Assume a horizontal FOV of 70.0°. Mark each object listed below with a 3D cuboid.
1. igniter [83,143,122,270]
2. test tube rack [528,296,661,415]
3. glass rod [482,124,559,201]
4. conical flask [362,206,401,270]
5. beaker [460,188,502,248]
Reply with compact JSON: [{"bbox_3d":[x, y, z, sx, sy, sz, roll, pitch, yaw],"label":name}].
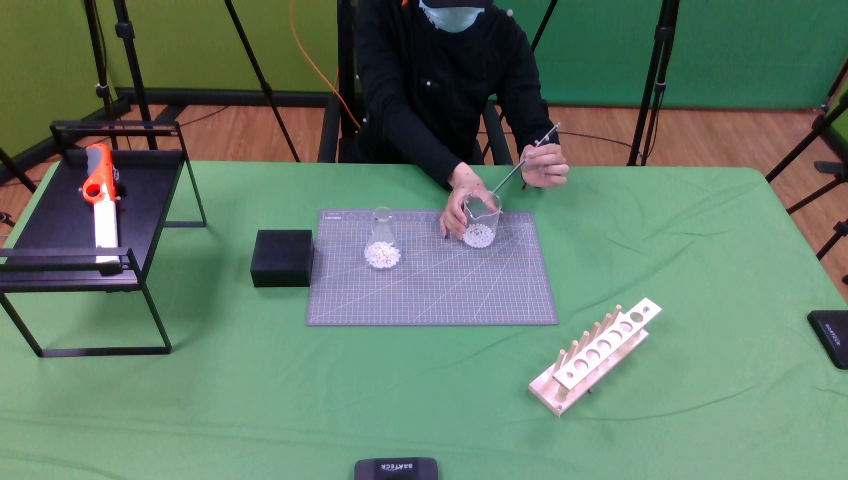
[{"bbox_3d":[-0.508,-0.063,0.962,0.057,0.025,0.274,-14,53,-18],"label":"igniter"},{"bbox_3d":[0.285,0.178,1.005,0.242,0.085,0.066,-31,55,-29],"label":"test tube rack"},{"bbox_3d":[0.178,-0.143,1.118,0.199,0.008,0.008,-45,59,-2],"label":"glass rod"},{"bbox_3d":[-0.078,-0.008,1.127,0.075,0.122,0.075,2,46,-2],"label":"conical flask"},{"bbox_3d":[0.109,-0.038,1.185,0.074,0.101,0.083,19,49,14],"label":"beaker"}]
